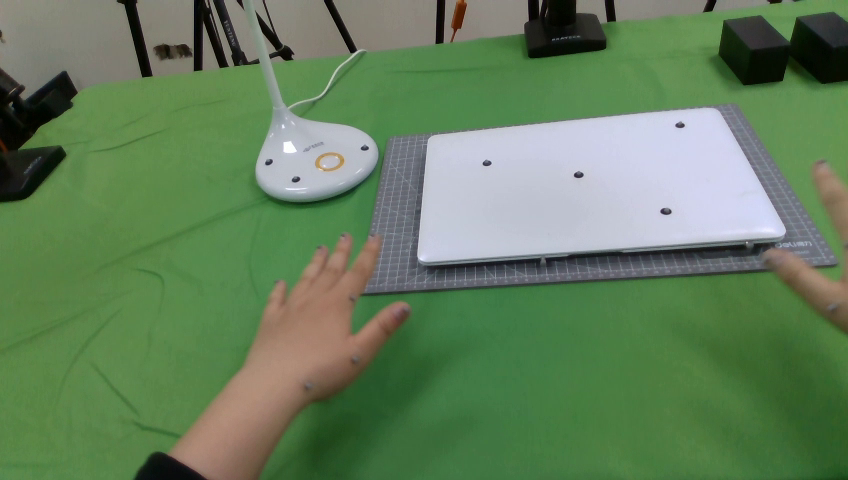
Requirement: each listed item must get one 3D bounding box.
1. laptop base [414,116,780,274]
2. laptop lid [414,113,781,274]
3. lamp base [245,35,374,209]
[{"bbox_3d":[0.169,-0.053,0.676,0.354,0.023,0.233,-5,43,7],"label":"laptop base"},{"bbox_3d":[0.167,-0.060,0.667,0.356,0.013,0.239,-4,42,8],"label":"laptop lid"},{"bbox_3d":[-0.164,-0.154,0.744,0.177,0.182,0.160,24,51,38],"label":"lamp base"}]
